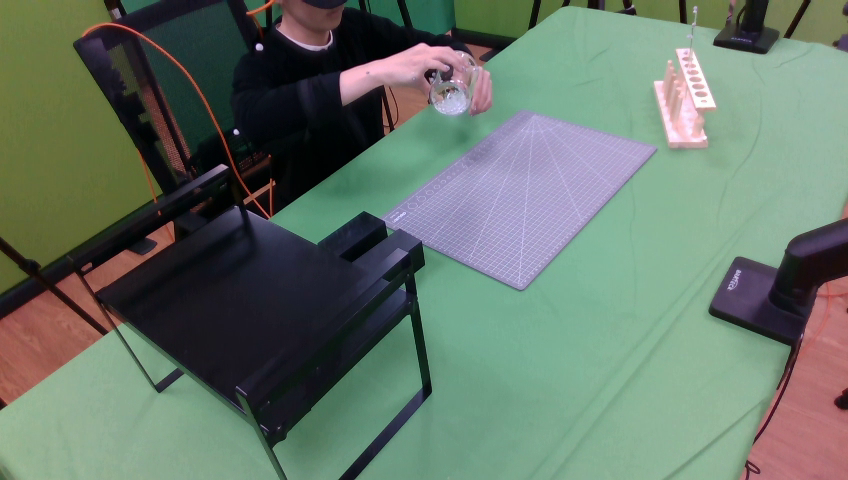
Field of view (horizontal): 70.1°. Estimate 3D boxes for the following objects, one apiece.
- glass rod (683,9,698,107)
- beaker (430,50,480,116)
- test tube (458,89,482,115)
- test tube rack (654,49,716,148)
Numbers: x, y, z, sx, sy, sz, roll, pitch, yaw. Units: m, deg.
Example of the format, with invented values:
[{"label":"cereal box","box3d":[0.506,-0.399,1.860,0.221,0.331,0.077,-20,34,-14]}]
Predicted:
[{"label":"glass rod","box3d":[0.501,-0.336,1.139,0.008,0.201,0.008,-8,42,8]},{"label":"beaker","box3d":[0.052,-0.258,1.012,0.074,0.084,0.100,0,42,15]},{"label":"test tube","box3d":[0.089,-0.258,1.140,0.017,0.017,0.151,7,1,17]},{"label":"test tube rack","box3d":[0.502,-0.281,1.176,0.066,0.085,0.241,2,42,11]}]
